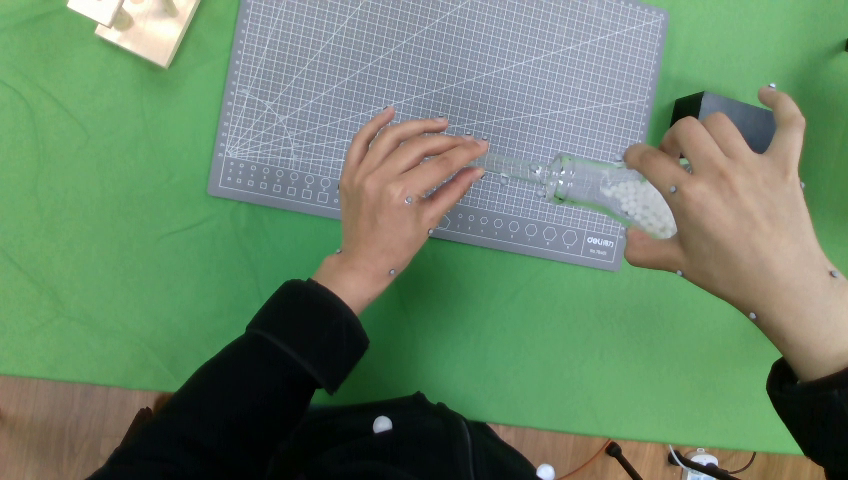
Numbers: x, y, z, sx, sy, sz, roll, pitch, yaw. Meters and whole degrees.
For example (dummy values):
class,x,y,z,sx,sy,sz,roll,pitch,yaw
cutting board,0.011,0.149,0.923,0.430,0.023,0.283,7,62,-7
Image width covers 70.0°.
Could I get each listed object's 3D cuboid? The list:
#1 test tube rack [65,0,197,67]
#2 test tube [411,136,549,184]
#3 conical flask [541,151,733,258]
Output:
class,x,y,z,sx,sy,sz,roll,pitch,yaw
test tube rack,-0.214,-0.284,0.528,0.067,0.085,0.242,25,88,-13
test tube,0.040,-0.068,0.498,0.017,0.149,0.017,-18,117,-38
conical flask,0.149,-0.034,0.438,0.122,0.075,0.075,12,90,-5
